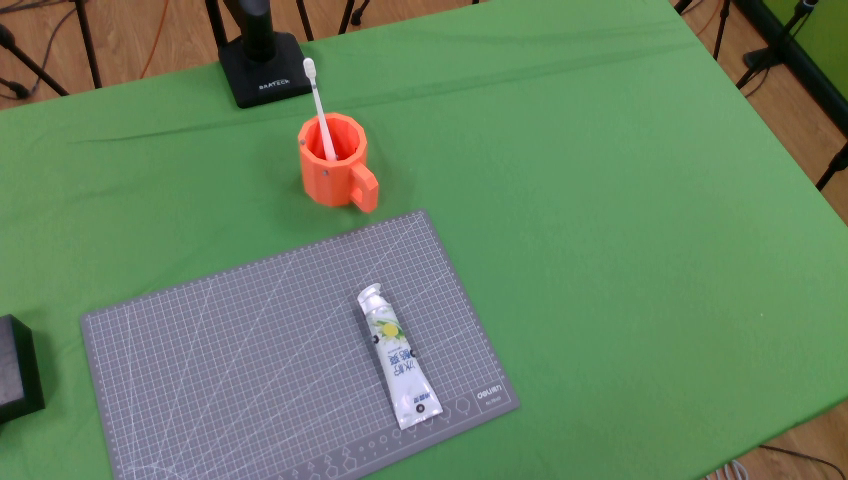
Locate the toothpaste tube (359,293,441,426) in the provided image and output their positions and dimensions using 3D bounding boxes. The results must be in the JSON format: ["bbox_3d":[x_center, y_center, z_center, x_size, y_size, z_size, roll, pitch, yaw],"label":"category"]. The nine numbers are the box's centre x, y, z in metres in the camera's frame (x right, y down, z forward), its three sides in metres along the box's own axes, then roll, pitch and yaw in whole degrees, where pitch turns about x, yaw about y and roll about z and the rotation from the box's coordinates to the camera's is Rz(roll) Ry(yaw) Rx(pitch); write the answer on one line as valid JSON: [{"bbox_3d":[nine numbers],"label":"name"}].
[{"bbox_3d":[-0.038,0.139,0.736,0.055,0.035,0.164,-23,72,-10],"label":"toothpaste tube"}]

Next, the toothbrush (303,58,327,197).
[{"bbox_3d":[-0.136,-0.141,0.783,0.014,0.183,0.016,-25,32,-37],"label":"toothbrush"}]

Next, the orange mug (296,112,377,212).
[{"bbox_3d":[-0.112,-0.096,0.809,0.125,0.101,0.083,41,65,18],"label":"orange mug"}]

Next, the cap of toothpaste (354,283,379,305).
[{"bbox_3d":[-0.070,0.068,0.761,0.037,0.037,0.011,-31,67,-22],"label":"cap of toothpaste"}]
